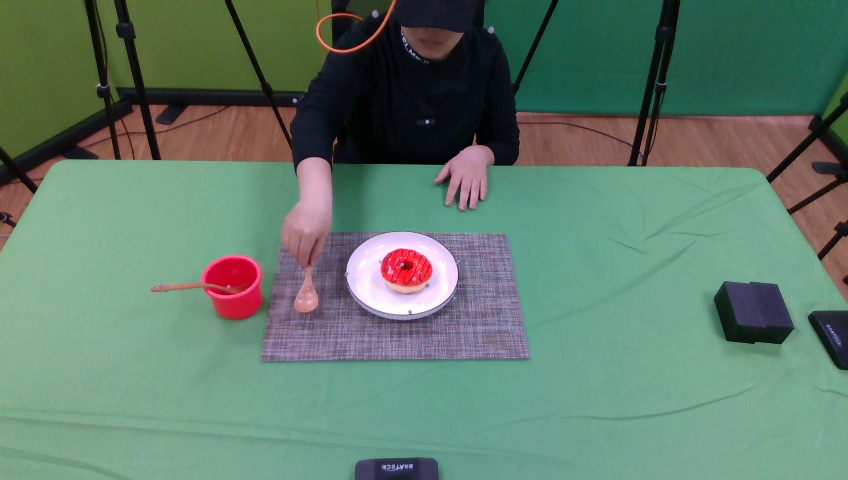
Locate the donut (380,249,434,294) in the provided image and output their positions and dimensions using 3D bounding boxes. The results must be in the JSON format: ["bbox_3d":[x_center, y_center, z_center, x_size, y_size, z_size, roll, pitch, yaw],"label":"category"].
[{"bbox_3d":[-0.032,0.056,1.111,0.099,0.048,0.098,4,43,-3],"label":"donut"}]

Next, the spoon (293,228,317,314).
[{"bbox_3d":[-0.209,0.052,1.093,0.041,0.022,0.192,-1,55,-3],"label":"spoon"}]

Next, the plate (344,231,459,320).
[{"bbox_3d":[-0.042,0.068,1.115,0.209,0.038,0.208,2,46,-2],"label":"plate"}]

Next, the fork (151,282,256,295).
[{"bbox_3d":[-0.361,0.080,1.007,0.028,0.018,0.208,35,11,27],"label":"fork"}]
